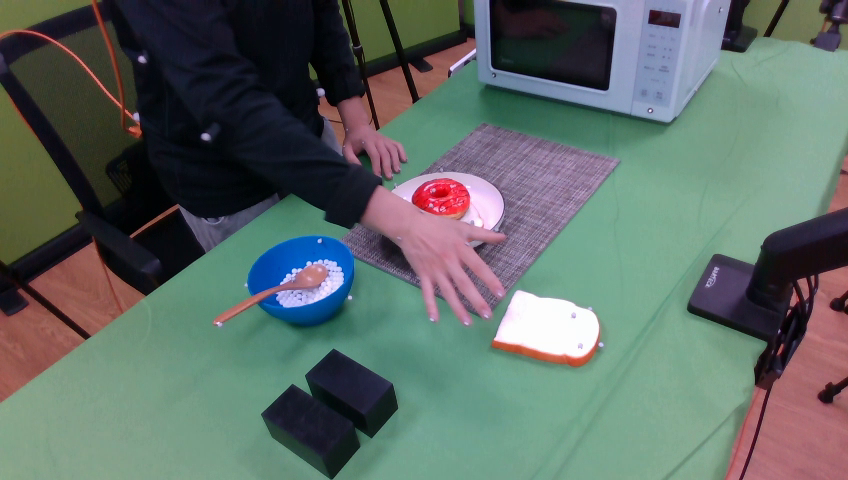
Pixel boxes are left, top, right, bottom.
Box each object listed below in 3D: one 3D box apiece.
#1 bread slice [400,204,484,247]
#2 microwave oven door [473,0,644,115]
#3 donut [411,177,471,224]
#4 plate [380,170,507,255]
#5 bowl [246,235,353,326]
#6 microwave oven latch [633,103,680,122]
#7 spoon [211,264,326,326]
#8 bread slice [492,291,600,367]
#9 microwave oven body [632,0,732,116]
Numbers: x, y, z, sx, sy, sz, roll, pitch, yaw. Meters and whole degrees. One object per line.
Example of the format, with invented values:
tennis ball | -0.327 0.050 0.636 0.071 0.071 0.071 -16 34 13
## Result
bread slice | 0.038 -0.036 0.992 0.107 0.018 0.133 -23 39 -18
microwave oven door | 0.257 -0.396 1.199 0.353 0.245 0.039 21 48 29
donut | 0.029 -0.064 0.978 0.099 0.048 0.098 -4 40 4
plate | 0.033 -0.042 0.996 0.207 0.039 0.206 -4 40 4
bowl | -0.170 0.070 0.868 0.151 0.077 0.150 -4 41 4
microwave oven latch | 0.444 -0.249 1.157 0.078 0.029 0.030 21 49 30
spoon | -0.208 0.072 0.822 0.041 0.021 0.195 29 30 25
bread slice | 0.169 0.118 0.811 0.131 0.019 0.105 11 44 21
microwave oven body | 0.377 -0.463 1.267 0.438 0.261 0.327 21 48 30
